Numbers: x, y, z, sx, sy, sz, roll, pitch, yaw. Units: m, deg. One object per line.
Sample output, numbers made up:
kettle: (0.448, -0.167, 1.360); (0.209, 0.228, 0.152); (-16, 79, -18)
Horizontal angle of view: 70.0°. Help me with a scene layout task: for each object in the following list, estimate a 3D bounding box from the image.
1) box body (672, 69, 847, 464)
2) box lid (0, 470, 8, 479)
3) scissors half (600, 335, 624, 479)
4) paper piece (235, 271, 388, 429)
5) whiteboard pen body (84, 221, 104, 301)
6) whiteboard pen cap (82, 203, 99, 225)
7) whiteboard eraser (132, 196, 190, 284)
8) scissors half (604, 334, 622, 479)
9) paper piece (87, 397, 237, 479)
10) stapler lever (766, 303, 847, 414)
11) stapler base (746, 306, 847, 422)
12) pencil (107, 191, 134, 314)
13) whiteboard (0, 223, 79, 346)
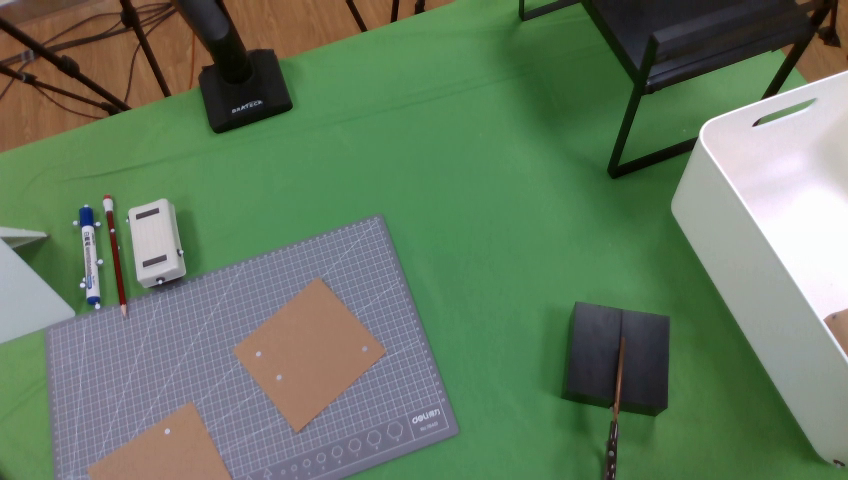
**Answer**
box body: (0.462, 0.022, 0.632); (0.254, 0.162, 0.360); (-20, 65, -3)
box lid: (-0.463, 0.431, 0.612); (0.369, 0.015, 0.263); (36, 73, 18)
scissors half: (0.196, 0.185, 0.628); (0.013, 0.040, 0.175); (7, 86, 7)
paper piece: (-0.136, 0.128, 0.723); (0.136, 0.009, 0.137); (-42, 70, -9)
whiteboard pen body: (-0.437, 0.017, 0.800); (0.017, 0.017, 0.139); (-19, 65, -3)
whiteboard pen cap: (-0.454, -0.033, 0.824); (0.018, 0.018, 0.033); (-20, 63, -4)
whiteboard eraser: (-0.341, 0.000, 0.786); (0.055, 0.042, 0.111); (-20, 65, -3)
scissors half: (0.193, 0.180, 0.609); (0.013, 0.040, 0.174); (6, 69, 12)
paper piece: (-0.288, 0.266, 0.672); (0.135, 0.004, 0.134); (-33, 67, -11)
stapler lever: (0.404, 0.121, 0.635); (0.027, 0.040, 0.117); (-25, 68, -1)
stapler base: (0.406, 0.130, 0.659); (0.041, 0.024, 0.129); (-25, 67, -1)
pencil: (-0.401, 0.013, 0.802); (0.012, 0.012, 0.192); (-22, 65, -5)
whiteboard: (-0.585, -0.015, 0.703); (0.217, 0.309, 0.142); (-19, 45, -3)
